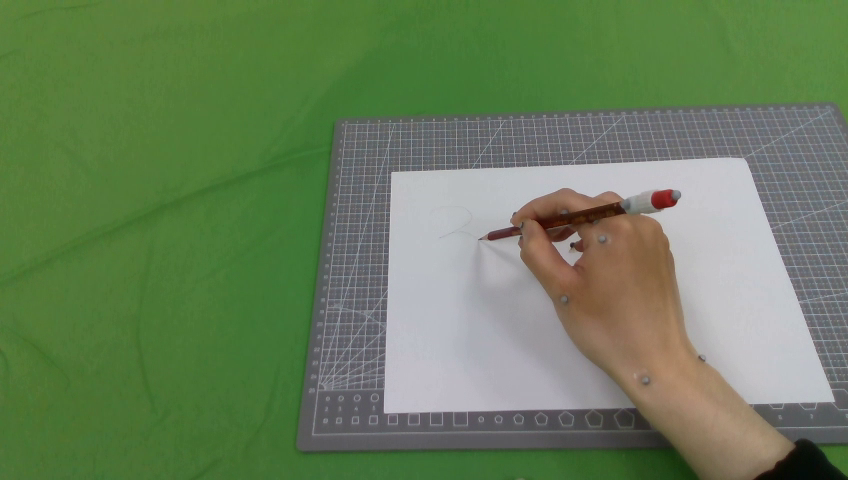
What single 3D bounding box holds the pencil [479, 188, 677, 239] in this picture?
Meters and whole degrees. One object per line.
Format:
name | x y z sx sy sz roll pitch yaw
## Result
pencil | 0.083 -0.012 0.388 0.012 0.193 0.012 3 83 -24
